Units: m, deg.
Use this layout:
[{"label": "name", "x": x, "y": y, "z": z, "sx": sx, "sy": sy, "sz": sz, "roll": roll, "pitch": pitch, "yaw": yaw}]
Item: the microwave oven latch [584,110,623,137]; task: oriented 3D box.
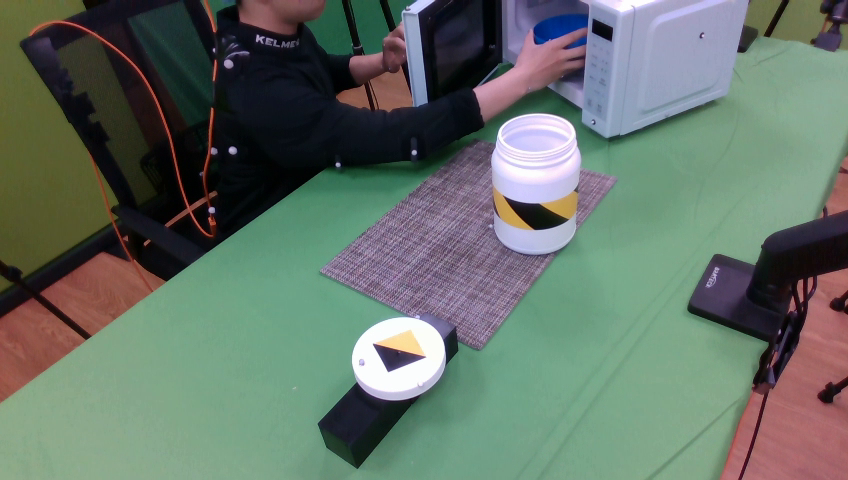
[{"label": "microwave oven latch", "x": 0.337, "y": -0.222, "z": 1.142, "sx": 0.030, "sy": 0.029, "sz": 0.078, "roll": -21, "pitch": 42, "yaw": -14}]

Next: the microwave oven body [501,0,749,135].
[{"label": "microwave oven body", "x": 0.382, "y": -0.444, "z": 1.246, "sx": 0.327, "sy": 0.261, "sz": 0.437, "roll": -22, "pitch": 42, "yaw": -16}]

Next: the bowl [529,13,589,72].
[{"label": "bowl", "x": 0.295, "y": -0.397, "z": 1.237, "sx": 0.151, "sy": 0.077, "sz": 0.150, "roll": -10, "pitch": 39, "yaw": 9}]

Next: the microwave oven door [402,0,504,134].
[{"label": "microwave oven door", "x": 0.073, "y": -0.411, "z": 1.243, "sx": 0.039, "sy": 0.245, "sz": 0.356, "roll": 17, "pitch": 46, "yaw": 26}]

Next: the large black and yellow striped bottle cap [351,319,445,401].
[{"label": "large black and yellow striped bottle cap", "x": -0.031, "y": 0.143, "z": 0.734, "sx": 0.115, "sy": 0.019, "sz": 0.114, "roll": -3, "pitch": 40, "yaw": 3}]

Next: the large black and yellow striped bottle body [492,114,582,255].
[{"label": "large black and yellow striped bottle body", "x": 0.169, "y": -0.083, "z": 0.912, "sx": 0.131, "sy": 0.185, "sz": 0.130, "roll": -4, "pitch": 41, "yaw": 4}]
